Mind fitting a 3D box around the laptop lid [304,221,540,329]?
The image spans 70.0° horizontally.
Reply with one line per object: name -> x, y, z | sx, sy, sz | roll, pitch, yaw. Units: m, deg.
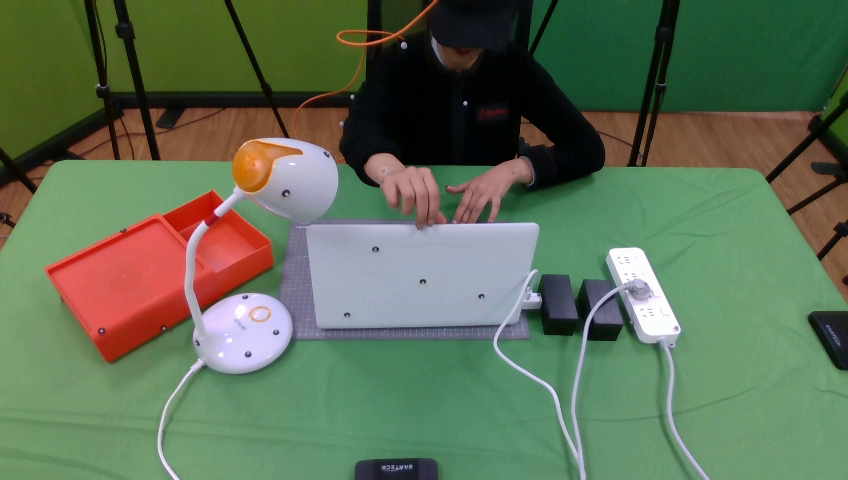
laptop lid -> -0.004, 0.062, 0.968 | 0.357, 0.243, 0.013 | 0, 42, -5

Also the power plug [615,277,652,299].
power plug -> 0.375, 0.088, 1.096 | 0.072, 0.053, 0.035 | 6, 46, 2

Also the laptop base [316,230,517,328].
laptop base -> -0.017, 0.067, 1.133 | 0.355, 0.023, 0.234 | -1, 43, -5

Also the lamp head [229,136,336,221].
lamp head -> -0.196, -0.085, 0.791 | 0.112, 0.112, 0.123 | 36, 14, 27

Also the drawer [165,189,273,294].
drawer -> -0.419, 0.021, 1.108 | 0.193, 0.073, 0.211 | 37, 55, 27

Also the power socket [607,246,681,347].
power socket -> 0.403, 0.096, 1.123 | 0.072, 0.033, 0.225 | -3, 47, -5

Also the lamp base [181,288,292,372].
lamp base -> -0.309, 0.108, 0.959 | 0.160, 0.181, 0.179 | 29, 55, 22

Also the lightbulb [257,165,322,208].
lightbulb -> -0.181, -0.076, 0.809 | 0.059, 0.059, 0.108 | 35, 11, 27

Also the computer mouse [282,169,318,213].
computer mouse -> -0.259, -0.106, 1.272 | 0.063, 0.041, 0.116 | 3, 50, -3

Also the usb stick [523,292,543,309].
usb stick -> 0.181, 0.109, 1.088 | 0.059, 0.027, 0.021 | -3, 49, -3

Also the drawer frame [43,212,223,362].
drawer frame -> -0.497, 0.073, 1.049 | 0.213, 0.083, 0.200 | -34, 57, -31
